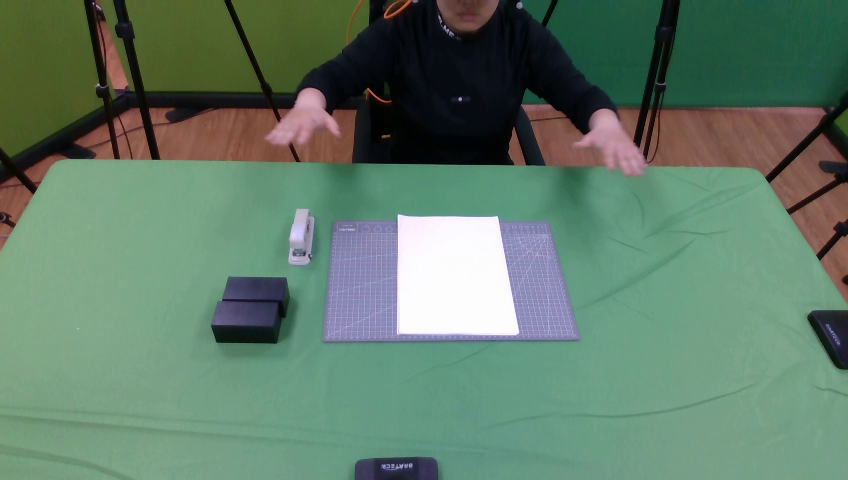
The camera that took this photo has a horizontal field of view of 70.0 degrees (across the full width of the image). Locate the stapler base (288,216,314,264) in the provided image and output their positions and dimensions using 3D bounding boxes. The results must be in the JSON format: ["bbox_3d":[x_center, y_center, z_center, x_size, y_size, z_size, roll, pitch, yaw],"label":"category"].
[{"bbox_3d":[-0.241,-0.007,1.184,0.041,0.024,0.129,1,44,-6],"label":"stapler base"}]

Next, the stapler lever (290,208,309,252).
[{"bbox_3d":[-0.240,-0.026,1.168,0.027,0.040,0.117,1,44,-6],"label":"stapler lever"}]
